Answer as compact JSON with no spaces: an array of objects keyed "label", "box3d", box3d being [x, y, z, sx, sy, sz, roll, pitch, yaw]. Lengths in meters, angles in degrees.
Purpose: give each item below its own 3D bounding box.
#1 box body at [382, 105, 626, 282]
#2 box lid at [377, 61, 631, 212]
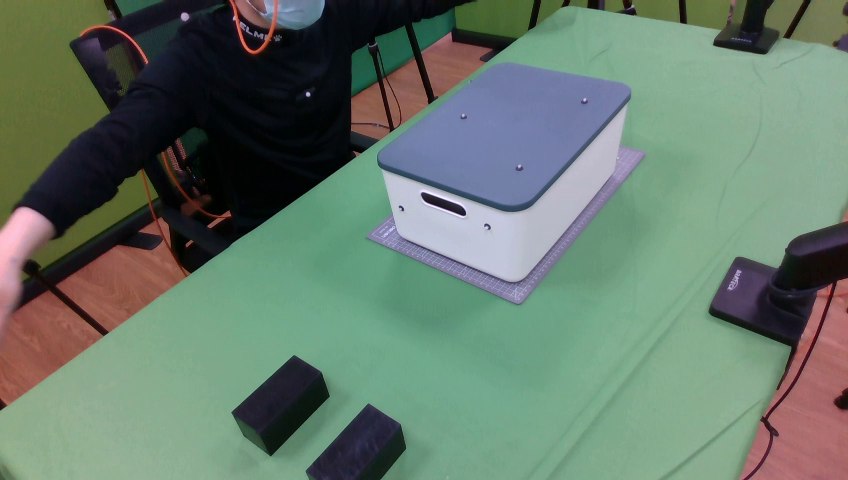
[{"label":"box body","box3d":[0.137,-0.121,0.978,0.252,0.161,0.365,22,48,30]},{"label":"box lid","box3d":[0.131,-0.178,0.930,0.261,0.015,0.372,22,49,30]}]
